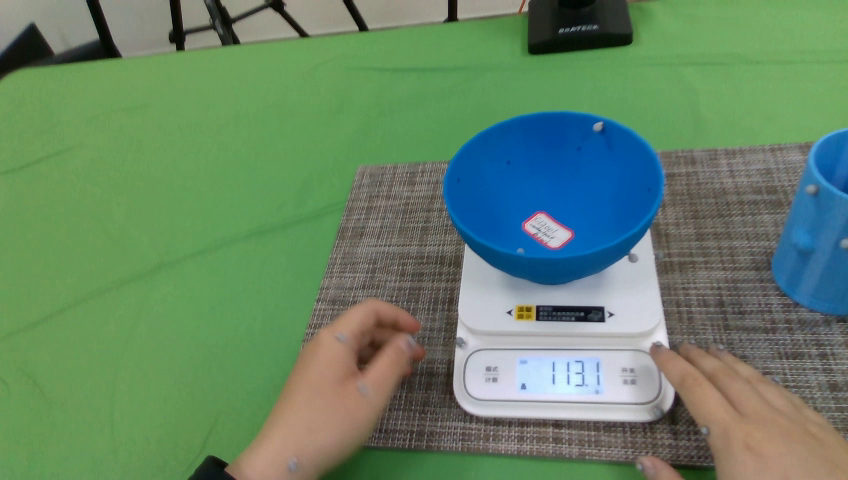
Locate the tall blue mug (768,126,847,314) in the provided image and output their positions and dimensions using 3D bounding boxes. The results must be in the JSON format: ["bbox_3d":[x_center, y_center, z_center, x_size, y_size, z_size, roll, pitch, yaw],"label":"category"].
[{"bbox_3d":[0.298,-0.004,0.400,0.078,0.109,0.106,-39,51,-22],"label":"tall blue mug"}]

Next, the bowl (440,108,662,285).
[{"bbox_3d":[0.091,-0.020,0.445,0.151,0.077,0.150,-6,48,7],"label":"bowl"}]

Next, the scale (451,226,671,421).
[{"bbox_3d":[0.100,0.038,0.463,0.148,0.032,0.199,-2,49,12],"label":"scale"}]
